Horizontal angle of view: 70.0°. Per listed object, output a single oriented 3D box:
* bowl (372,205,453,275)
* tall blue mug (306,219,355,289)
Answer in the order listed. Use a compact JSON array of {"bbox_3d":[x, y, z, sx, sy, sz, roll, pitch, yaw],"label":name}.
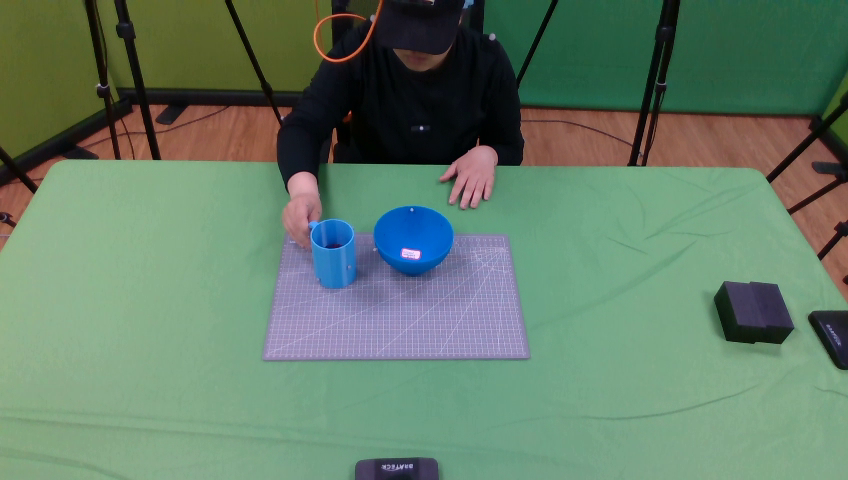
[{"bbox_3d":[-0.022,0.013,1.143,0.151,0.077,0.150,2,46,-2],"label":"bowl"},{"bbox_3d":[-0.179,0.021,1.100,0.107,0.108,0.077,17,48,11],"label":"tall blue mug"}]
